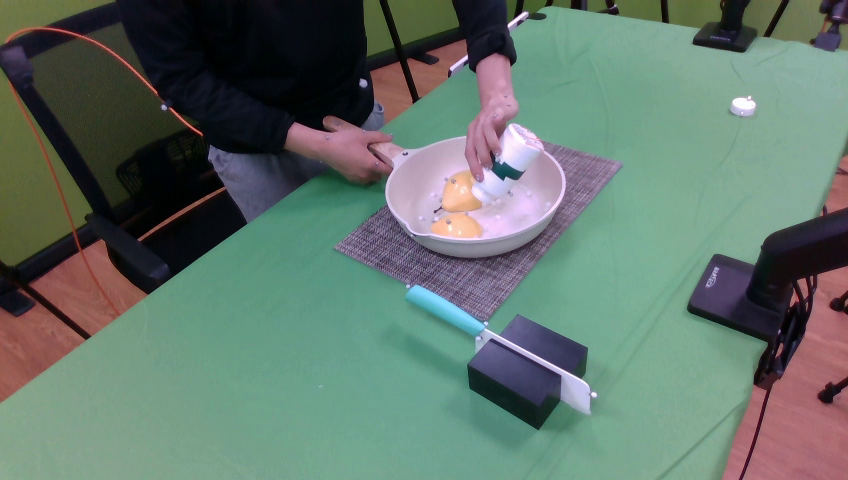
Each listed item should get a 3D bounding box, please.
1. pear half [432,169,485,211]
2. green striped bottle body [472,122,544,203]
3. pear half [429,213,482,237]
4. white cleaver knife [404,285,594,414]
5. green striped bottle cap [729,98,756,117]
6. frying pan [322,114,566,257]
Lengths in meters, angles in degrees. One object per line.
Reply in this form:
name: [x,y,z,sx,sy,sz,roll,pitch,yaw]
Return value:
pear half: [0.057,-0.083,1.023,0.110,0.056,0.075,-32,41,-25]
green striped bottle body: [0.120,-0.112,0.907,0.063,0.119,0.063,27,31,-18]
pear half: [0.049,-0.024,0.972,0.087,0.031,0.070,15,41,17]
white cleaver knife: [0.084,0.135,0.764,0.284,0.066,0.021,28,47,31]
green striped bottle cap: [0.623,-0.259,1.182,0.044,0.020,0.044,-3,41,3]
frying pan: [0.004,-0.121,1.039,0.484,0.103,0.308,31,52,25]
